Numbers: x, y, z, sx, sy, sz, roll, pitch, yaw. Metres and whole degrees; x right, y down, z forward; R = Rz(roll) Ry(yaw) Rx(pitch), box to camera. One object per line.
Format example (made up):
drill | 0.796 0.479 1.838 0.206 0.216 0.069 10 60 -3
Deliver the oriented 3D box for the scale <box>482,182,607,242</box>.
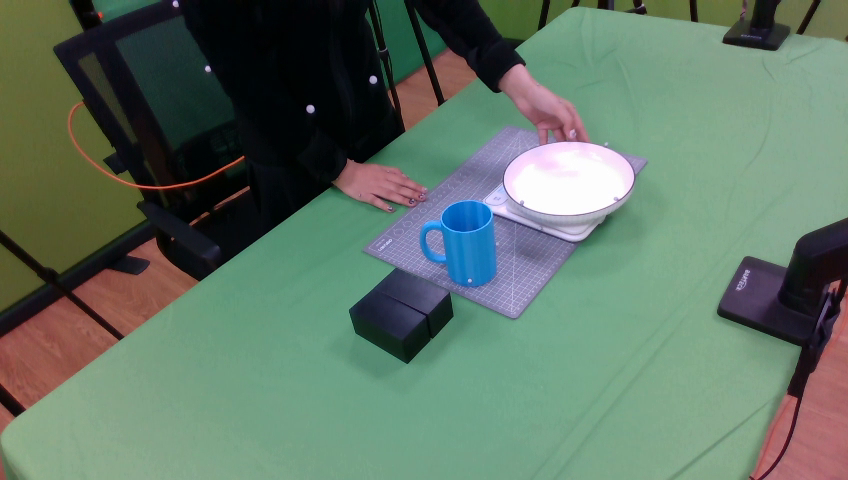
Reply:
scale | 0.211 -0.070 1.014 0.199 0.032 0.149 23 49 33

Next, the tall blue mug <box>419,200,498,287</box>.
tall blue mug | 0.053 0.010 0.889 0.107 0.108 0.077 -16 41 -7

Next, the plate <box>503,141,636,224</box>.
plate | 0.233 -0.091 0.983 0.209 0.038 0.208 -5 41 5
